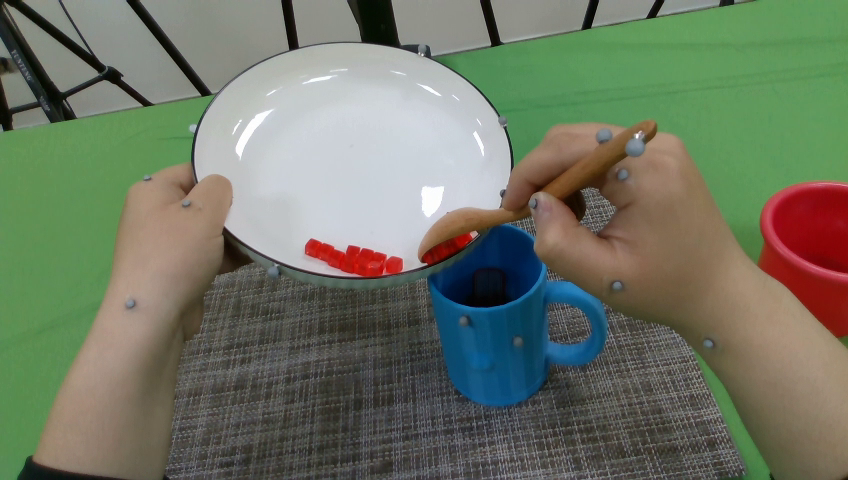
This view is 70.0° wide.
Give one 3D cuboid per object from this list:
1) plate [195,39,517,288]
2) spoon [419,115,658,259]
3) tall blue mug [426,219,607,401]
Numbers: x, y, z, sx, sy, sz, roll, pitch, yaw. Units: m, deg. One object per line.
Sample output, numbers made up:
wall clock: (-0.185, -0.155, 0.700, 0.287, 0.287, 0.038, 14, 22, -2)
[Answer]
plate: (-0.042, -0.054, 0.409, 0.208, 0.039, 0.205, 3, 56, -4)
spoon: (0.043, -0.019, 0.293, 0.041, 0.022, 0.193, -36, 6, -27)
tall blue mug: (0.061, 0.046, 0.415, 0.107, 0.109, 0.077, -14, 44, -1)
